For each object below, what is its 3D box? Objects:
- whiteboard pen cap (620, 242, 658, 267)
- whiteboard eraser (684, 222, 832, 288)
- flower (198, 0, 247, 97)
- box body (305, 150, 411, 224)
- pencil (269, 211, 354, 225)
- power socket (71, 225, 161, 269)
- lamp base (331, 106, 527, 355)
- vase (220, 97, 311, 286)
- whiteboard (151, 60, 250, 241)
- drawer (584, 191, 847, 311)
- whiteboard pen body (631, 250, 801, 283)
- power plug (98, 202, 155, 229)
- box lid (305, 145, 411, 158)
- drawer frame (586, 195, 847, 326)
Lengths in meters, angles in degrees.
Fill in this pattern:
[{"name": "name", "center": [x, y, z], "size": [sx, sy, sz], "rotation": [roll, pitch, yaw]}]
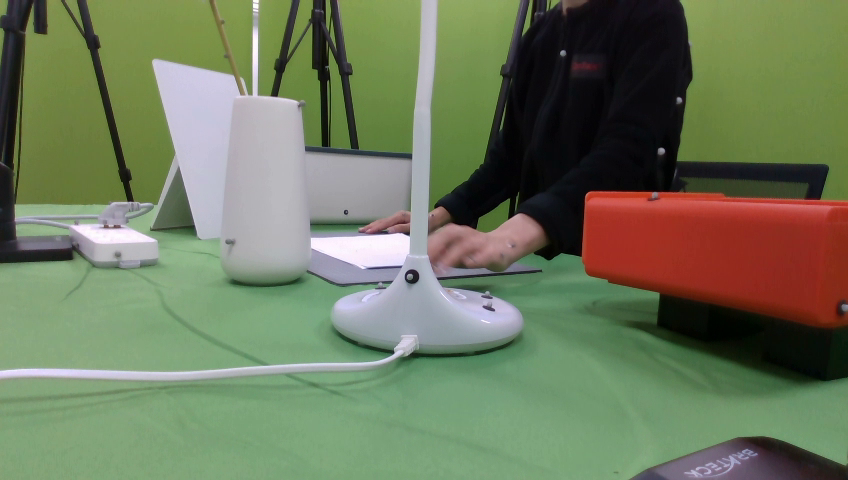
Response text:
[{"name": "whiteboard pen cap", "center": [0.199, 0.014, 0.557], "size": [0.018, 0.018, 0.033], "rotation": [-4, 16, -38]}, {"name": "whiteboard eraser", "center": [0.304, 0.013, 0.558], "size": [0.056, 0.042, 0.112], "rotation": [-10, 20, -30]}, {"name": "flower", "center": [-0.187, -0.133, 0.648], "size": [0.038, 0.362, 0.044], "rotation": [0, 22, 43]}, {"name": "box body", "center": [-0.233, -0.127, 1.374], "size": [0.366, 0.160, 0.253], "rotation": [-2, 8, -29]}, {"name": "pencil", "center": [-0.246, -0.046, 1.338], "size": [0.195, 0.012, 0.012], "rotation": [7, 5, -27]}, {"name": "power socket", "center": [-0.408, 0.004, 0.793], "size": [0.072, 0.032, 0.225], "rotation": [-2, 8, -38]}, {"name": "lamp base", "center": [0.006, -0.012, 0.478], "size": [0.161, 0.180, 0.179], "rotation": [2, 10, 2]}, {"name": "vase", "center": [-0.172, -0.052, 0.662], "size": [0.098, 0.200, 0.098], "rotation": [3, 8, 0]}, {"name": "whiteboard", "center": [-0.408, -0.139, 1.094], "size": [0.143, 0.305, 0.218], "rotation": [-15, 0, 25]}, {"name": "drawer", "center": [0.280, 0.000, 0.513], "size": [0.195, 0.073, 0.211], "rotation": [-1, 7, -28]}, {"name": "whiteboard pen body", "center": [0.240, 0.020, 0.512], "size": [0.017, 0.017, 0.140], "rotation": [-4, 8, -41]}, {"name": "power plug", "center": [-0.416, -0.026, 0.848], "size": [0.073, 0.052, 0.035], "rotation": [0, 8, -28]}, {"name": "box lid", "center": [-0.232, -0.200, 1.363], "size": [0.373, 0.015, 0.262], "rotation": [0, 7, -29]}, {"name": "drawer frame", "center": [0.284, 0.004, 0.509], "size": [0.203, 0.082, 0.212], "rotation": [-1, 6, -28]}]
